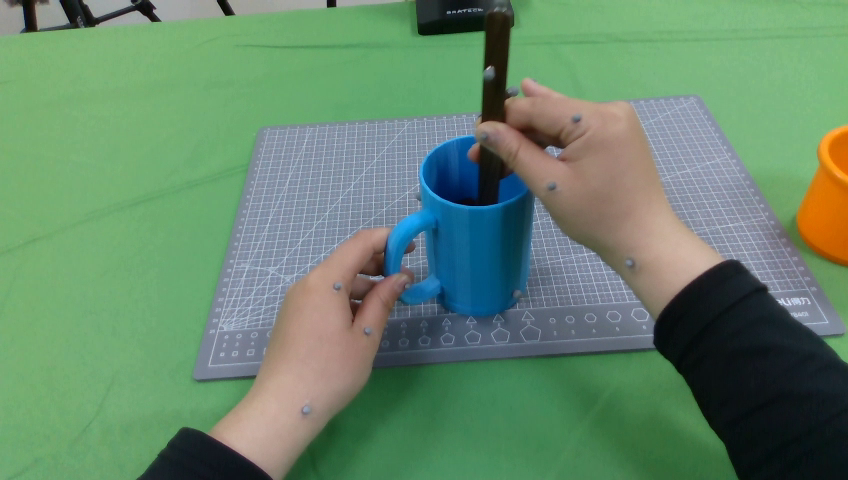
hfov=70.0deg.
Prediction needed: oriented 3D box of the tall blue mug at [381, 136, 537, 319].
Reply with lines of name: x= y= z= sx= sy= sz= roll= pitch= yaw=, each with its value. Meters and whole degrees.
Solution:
tall blue mug: x=0.029 y=0.003 z=0.417 sx=0.077 sy=0.109 sz=0.107 roll=20 pitch=50 yaw=21

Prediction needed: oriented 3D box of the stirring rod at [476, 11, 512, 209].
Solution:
stirring rod: x=0.040 y=-0.050 z=0.364 sx=0.014 sy=0.178 sz=0.005 roll=6 pitch=43 yaw=8
